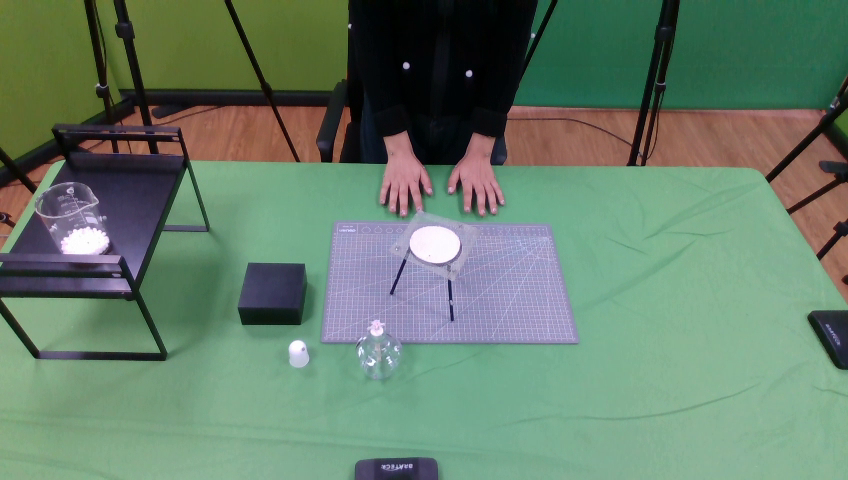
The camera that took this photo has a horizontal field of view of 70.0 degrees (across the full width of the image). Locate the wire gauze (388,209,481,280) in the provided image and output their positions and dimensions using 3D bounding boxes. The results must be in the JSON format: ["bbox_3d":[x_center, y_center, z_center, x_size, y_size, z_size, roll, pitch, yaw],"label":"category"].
[{"bbox_3d":[0.018,0.002,1.019,0.125,0.011,0.121,21,49,16],"label":"wire gauze"}]

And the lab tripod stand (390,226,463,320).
[{"bbox_3d":[0.014,0.053,1.063,0.148,0.132,0.147,1,48,-1],"label":"lab tripod stand"}]

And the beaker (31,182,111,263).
[{"bbox_3d":[-0.502,-0.022,0.877,0.084,0.101,0.073,-2,47,-7],"label":"beaker"}]

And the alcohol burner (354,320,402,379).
[{"bbox_3d":[-0.074,0.169,0.964,0.078,0.120,0.077,1,46,-1],"label":"alcohol burner"}]

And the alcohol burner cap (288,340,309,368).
[{"bbox_3d":[-0.207,0.183,0.991,0.034,0.048,0.033,3,47,-3],"label":"alcohol burner cap"}]
